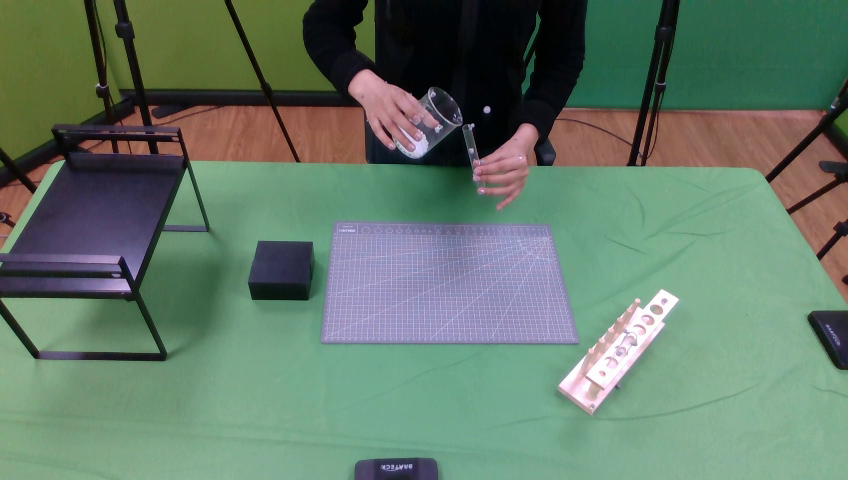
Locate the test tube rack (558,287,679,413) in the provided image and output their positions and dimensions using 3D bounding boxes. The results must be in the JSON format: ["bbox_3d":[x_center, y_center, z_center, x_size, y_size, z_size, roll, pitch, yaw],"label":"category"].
[{"bbox_3d":[0.326,0.170,1.009,0.066,0.085,0.242,36,54,26],"label":"test tube rack"}]

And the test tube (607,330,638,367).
[{"bbox_3d":[0.292,0.184,0.925,0.017,0.151,0.017,4,49,-4],"label":"test tube"}]

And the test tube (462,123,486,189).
[{"bbox_3d":[0.086,-0.140,1.033,0.017,0.151,0.017,-9,50,11],"label":"test tube"}]

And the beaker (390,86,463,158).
[{"bbox_3d":[0.003,-0.185,0.967,0.084,0.100,0.073,14,51,-45],"label":"beaker"}]
